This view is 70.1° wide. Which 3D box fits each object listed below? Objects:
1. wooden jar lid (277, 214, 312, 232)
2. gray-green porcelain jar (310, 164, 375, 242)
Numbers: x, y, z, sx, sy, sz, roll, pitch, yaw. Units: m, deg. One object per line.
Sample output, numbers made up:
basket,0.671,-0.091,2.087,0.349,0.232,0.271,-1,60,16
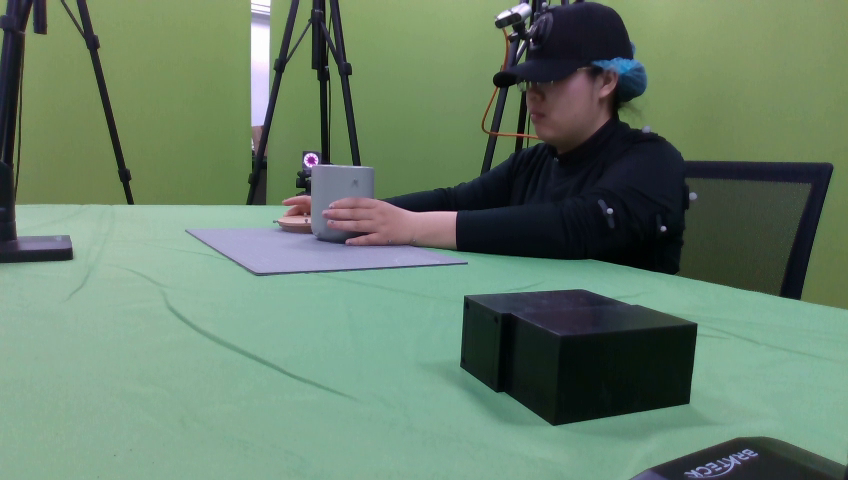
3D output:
wooden jar lid,-0.220,-0.032,1.137,0.108,0.020,0.108,-1,12,1
gray-green porcelain jar,-0.139,-0.063,1.025,0.106,0.126,0.106,3,8,0
